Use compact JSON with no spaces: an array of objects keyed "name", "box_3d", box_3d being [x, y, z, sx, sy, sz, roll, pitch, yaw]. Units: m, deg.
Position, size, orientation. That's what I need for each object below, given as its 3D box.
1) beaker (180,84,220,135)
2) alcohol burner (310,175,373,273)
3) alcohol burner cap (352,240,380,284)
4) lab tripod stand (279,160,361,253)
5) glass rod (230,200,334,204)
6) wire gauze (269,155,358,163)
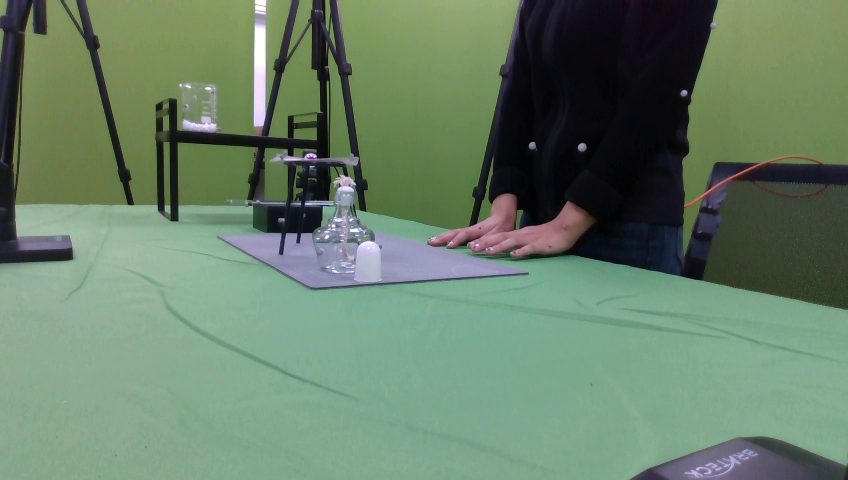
[{"name":"beaker","box_3d":[-0.475,-0.275,1.281,0.073,0.100,0.084,7,9,36]},{"name":"alcohol burner","box_3d":[-0.100,-0.020,0.740,0.078,0.119,0.078,1,6,0]},{"name":"alcohol burner cap","box_3d":[-0.065,0.023,0.690,0.034,0.048,0.034,3,10,0]},{"name":"lab tripod stand","box_3d":[-0.166,-0.052,0.897,0.148,0.131,0.148,0,7,0]},{"name":"glass rod","box_3d":[-0.267,-0.072,1.155,0.201,0.008,0.008,-1,8,-28]},{"name":"wire gauze","box_3d":[-0.159,-0.118,0.886,0.122,0.011,0.125,1,7,-9]}]
